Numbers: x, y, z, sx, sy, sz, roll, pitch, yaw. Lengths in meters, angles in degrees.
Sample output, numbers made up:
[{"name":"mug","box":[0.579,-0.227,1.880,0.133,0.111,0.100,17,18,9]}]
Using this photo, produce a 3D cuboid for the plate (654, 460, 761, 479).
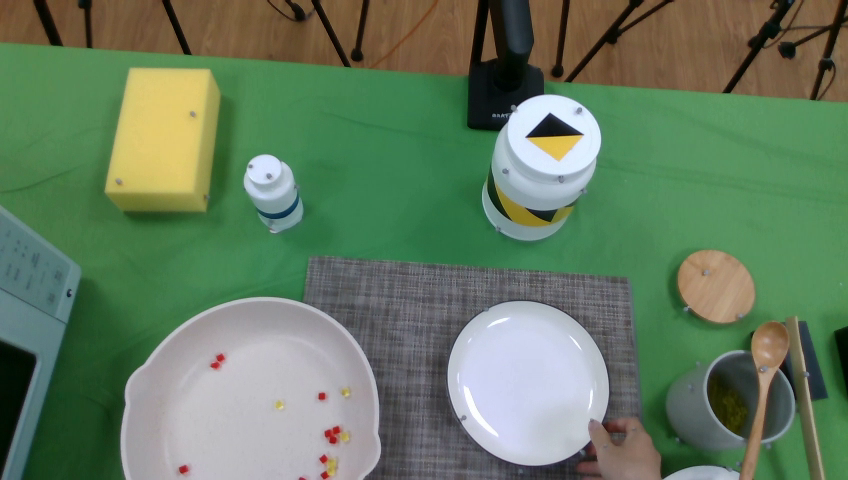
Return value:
[{"name":"plate","box":[0.340,0.368,0.712,0.208,0.039,0.206,1,68,-2]}]

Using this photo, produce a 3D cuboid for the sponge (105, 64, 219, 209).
[{"name":"sponge","box":[-0.371,-0.149,0.869,0.118,0.061,0.205,-1,69,-4]}]

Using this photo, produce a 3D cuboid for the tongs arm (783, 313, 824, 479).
[{"name":"tongs arm","box":[0.487,0.279,0.726,0.051,0.026,0.383,0,78,-6]}]

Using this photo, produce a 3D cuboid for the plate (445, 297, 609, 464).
[{"name":"plate","box":[0.129,0.176,0.774,0.209,0.038,0.207,1,68,-2]}]

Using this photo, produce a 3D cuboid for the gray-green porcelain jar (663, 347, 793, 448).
[{"name":"gray-green porcelain jar","box":[0.359,0.195,0.735,0.106,0.127,0.105,1,67,-2]}]

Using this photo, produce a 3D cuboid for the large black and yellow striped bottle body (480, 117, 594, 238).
[{"name":"large black and yellow striped bottle body","box":[0.150,-0.095,0.811,0.131,0.185,0.130,1,67,-2]}]

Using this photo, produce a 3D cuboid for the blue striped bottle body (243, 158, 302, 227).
[{"name":"blue striped bottle body","box":[-0.204,-0.069,0.814,0.063,0.121,0.062,1,67,-2]}]

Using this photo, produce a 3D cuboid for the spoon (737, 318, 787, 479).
[{"name":"spoon","box":[0.367,0.178,0.667,0.041,0.022,0.193,19,72,3]}]

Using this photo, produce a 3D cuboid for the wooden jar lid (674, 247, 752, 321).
[{"name":"wooden jar lid","box":[0.402,0.062,0.850,0.108,0.021,0.107,1,69,-2]}]

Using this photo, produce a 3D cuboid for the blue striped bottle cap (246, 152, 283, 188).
[{"name":"blue striped bottle cap","box":[-0.202,-0.089,0.767,0.044,0.021,0.044,1,69,-3]}]

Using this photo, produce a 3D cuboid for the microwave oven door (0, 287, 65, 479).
[{"name":"microwave oven door","box":[-0.477,0.218,0.596,0.039,0.245,0.353,4,67,-1]}]

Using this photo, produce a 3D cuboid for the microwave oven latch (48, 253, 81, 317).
[{"name":"microwave oven latch","box":[-0.465,0.056,0.773,0.030,0.029,0.078,7,68,-1]}]

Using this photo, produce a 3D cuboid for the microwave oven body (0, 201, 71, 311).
[{"name":"microwave oven body","box":[-0.620,0.170,0.613,0.326,0.261,0.438,4,68,-2]}]

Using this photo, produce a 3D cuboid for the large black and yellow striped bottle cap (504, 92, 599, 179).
[{"name":"large black and yellow striped bottle cap","box":[0.155,-0.128,0.734,0.115,0.019,0.114,1,69,-2]}]

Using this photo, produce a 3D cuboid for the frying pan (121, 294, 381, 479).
[{"name":"frying pan","box":[-0.228,0.297,0.671,0.306,0.103,0.484,17,60,6]}]
